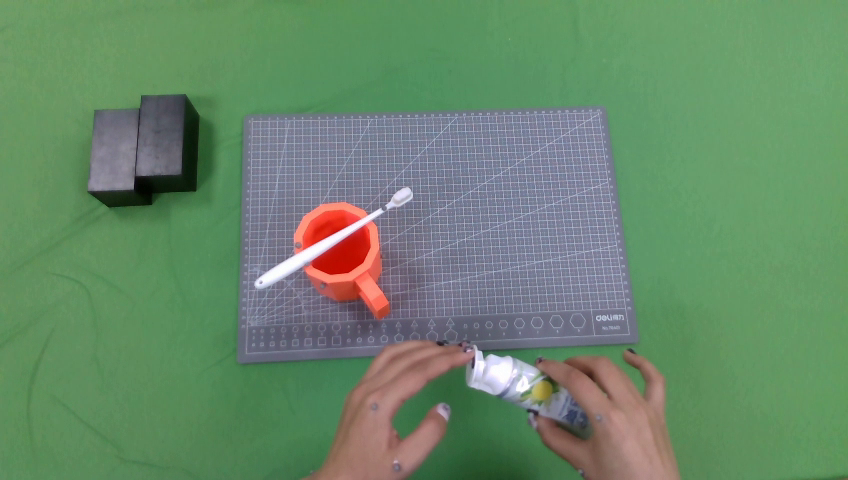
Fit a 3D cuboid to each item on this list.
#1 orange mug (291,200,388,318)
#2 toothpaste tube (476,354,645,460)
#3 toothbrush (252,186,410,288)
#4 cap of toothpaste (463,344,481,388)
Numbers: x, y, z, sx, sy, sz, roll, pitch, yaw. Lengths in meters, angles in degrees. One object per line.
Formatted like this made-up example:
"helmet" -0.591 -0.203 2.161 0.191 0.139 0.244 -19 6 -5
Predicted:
"orange mug" -0.082 0.027 0.649 0.083 0.101 0.125 -36 74 -12
"toothpaste tube" 0.115 0.140 0.523 0.166 0.034 0.055 24 90 -12
"toothbrush" -0.091 -0.004 0.603 0.182 0.017 0.014 -32 83 -11
"cap of toothpaste" 0.040 0.105 0.505 0.011 0.037 0.037 5 74 -4
